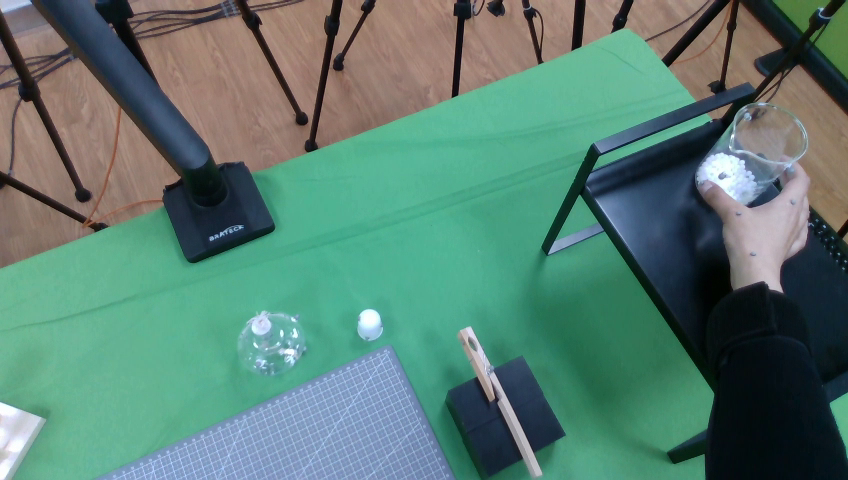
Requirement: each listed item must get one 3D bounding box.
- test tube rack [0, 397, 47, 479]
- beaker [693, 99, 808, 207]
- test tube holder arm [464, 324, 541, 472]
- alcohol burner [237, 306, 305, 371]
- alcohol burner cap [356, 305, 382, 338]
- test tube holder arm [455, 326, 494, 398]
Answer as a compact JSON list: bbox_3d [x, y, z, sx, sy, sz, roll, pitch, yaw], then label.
[{"bbox_3d":[-0.503,0.274,0.613,0.066,0.086,0.241,18,64,6],"label":"test tube rack"},{"bbox_3d":[0.335,-0.086,0.636,0.084,0.101,0.073,-21,66,-12],"label":"beaker"},{"bbox_3d":[0.085,0.176,0.685,0.013,0.015,0.177,-19,67,-23],"label":"test tube holder arm"},{"bbox_3d":[-0.179,0.108,0.701,0.078,0.120,0.077,2,62,-3],"label":"alcohol burner"},{"bbox_3d":[-0.069,0.099,0.753,0.034,0.048,0.033,2,62,-3],"label":"alcohol burner cap"},{"bbox_3d":[0.061,0.140,0.699,0.010,0.015,0.087,-19,67,-23],"label":"test tube holder arm"}]
